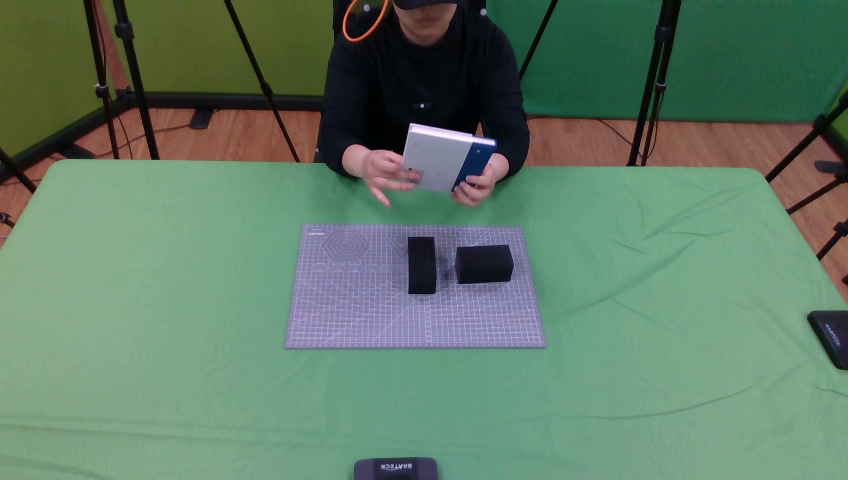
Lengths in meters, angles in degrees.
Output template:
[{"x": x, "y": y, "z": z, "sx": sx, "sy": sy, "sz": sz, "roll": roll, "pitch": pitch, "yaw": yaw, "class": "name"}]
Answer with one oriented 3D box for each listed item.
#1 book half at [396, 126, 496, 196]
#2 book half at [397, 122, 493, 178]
[{"x": 0.033, "y": -0.138, "z": 1.091, "sx": 0.149, "sy": 0.211, "sz": 0.016, "roll": 8, "pitch": 69, "yaw": -5, "class": "book half"}, {"x": 0.031, "y": -0.145, "z": 1.093, "sx": 0.143, "sy": 0.210, "sz": 0.007, "roll": 9, "pitch": 69, "yaw": -5, "class": "book half"}]
